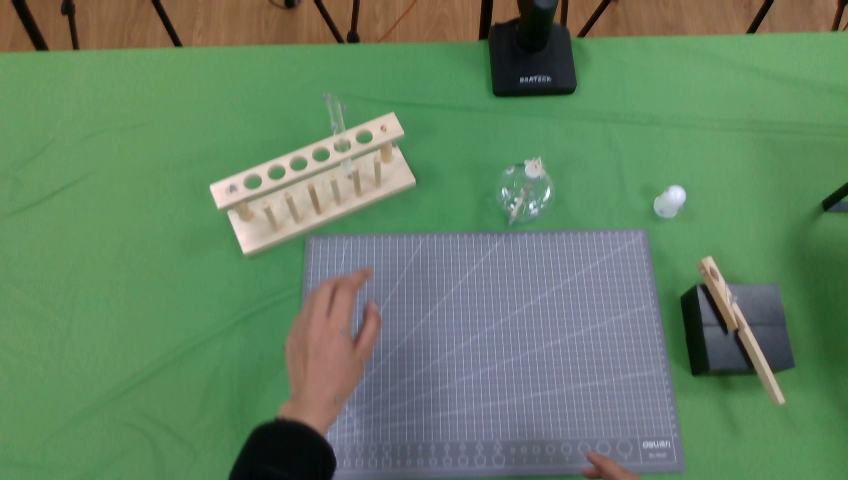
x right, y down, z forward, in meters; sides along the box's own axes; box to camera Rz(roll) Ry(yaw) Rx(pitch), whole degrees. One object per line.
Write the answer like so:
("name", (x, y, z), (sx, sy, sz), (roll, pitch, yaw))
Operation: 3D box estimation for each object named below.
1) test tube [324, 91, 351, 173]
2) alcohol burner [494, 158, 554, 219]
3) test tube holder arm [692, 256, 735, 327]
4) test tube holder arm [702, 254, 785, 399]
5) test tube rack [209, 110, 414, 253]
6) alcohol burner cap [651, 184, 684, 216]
("test tube", (-0.104, -0.127, 0.743), (0.017, 0.151, 0.017), (0, 63, 0))
("alcohol burner", (0.129, -0.073, 0.764), (0.078, 0.120, 0.077), (1, 70, -1))
("test tube holder arm", (0.344, 0.060, 0.715), (0.010, 0.015, 0.087), (-19, 72, -10))
("test tube holder arm", (0.366, 0.098, 0.703), (0.013, 0.015, 0.177), (-20, 72, -10))
("test tube rack", (-0.136, -0.074, 0.775), (0.242, 0.086, 0.066), (-24, 70, -10))
("alcohol burner cap", (0.323, -0.055, 0.798), (0.034, 0.048, 0.033), (0, 68, 1))
